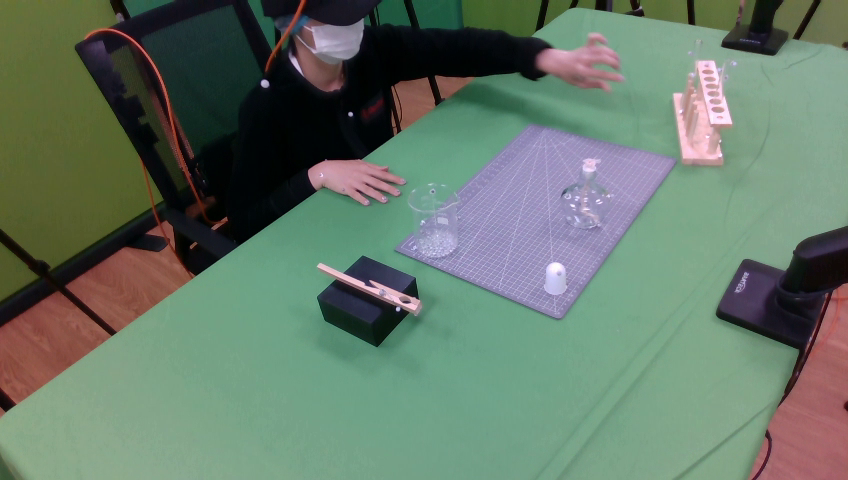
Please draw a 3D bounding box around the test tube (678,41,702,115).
[{"bbox_3d":[0.500,-0.303,1.138,0.017,0.151,0.017,-4,42,4],"label":"test tube"}]

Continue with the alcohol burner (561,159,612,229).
[{"bbox_3d":[0.257,-0.077,0.951,0.078,0.119,0.077,-3,40,3],"label":"alcohol burner"}]

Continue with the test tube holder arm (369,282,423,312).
[{"bbox_3d":[-0.040,0.076,0.817,0.087,0.015,0.010,18,55,28],"label":"test tube holder arm"}]

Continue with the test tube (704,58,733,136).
[{"bbox_3d":[0.516,-0.247,1.062,0.017,0.151,0.017,-3,43,4],"label":"test tube"}]

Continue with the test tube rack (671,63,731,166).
[{"bbox_3d":[0.513,-0.240,1.132,0.066,0.085,0.242,4,41,14],"label":"test tube rack"}]

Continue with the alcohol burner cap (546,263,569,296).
[{"bbox_3d":[0.191,0.053,0.862,0.034,0.048,0.033,-5,40,4],"label":"alcohol burner cap"}]

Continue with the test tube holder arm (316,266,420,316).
[{"bbox_3d":[-0.081,0.068,0.836,0.177,0.015,0.013,18,55,28],"label":"test tube holder arm"}]

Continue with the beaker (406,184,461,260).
[{"bbox_3d":[0.019,-0.026,0.939,0.084,0.101,0.074,1,41,9],"label":"beaker"}]
